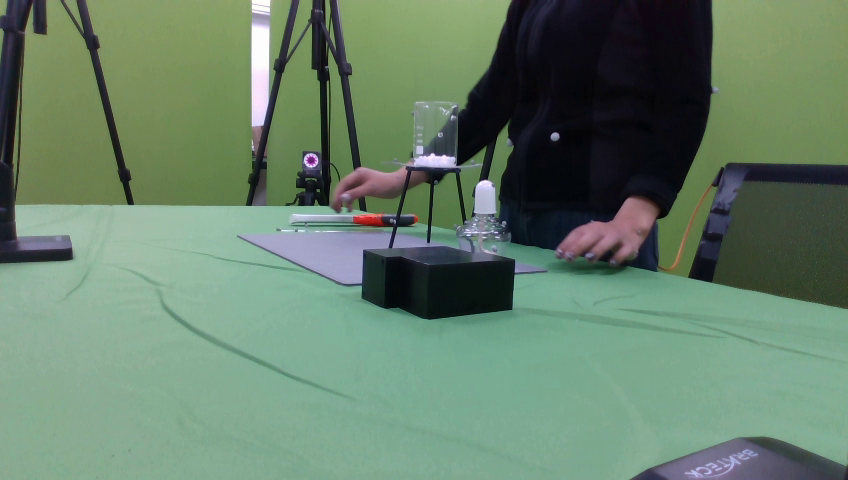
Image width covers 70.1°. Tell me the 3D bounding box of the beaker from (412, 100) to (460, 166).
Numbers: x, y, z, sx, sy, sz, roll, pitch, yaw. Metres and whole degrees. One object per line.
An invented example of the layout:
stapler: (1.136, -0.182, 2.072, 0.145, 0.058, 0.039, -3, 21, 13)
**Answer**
beaker: (0.020, -0.167, 0.953, 0.073, 0.100, 0.084, 6, 9, 26)

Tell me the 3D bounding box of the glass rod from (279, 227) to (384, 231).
glass rod: (-0.175, -0.021, 1.161, 0.200, 0.008, 0.008, 1, 7, -15)

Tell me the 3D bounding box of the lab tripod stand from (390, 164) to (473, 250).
lab tripod stand: (0.012, -0.054, 0.960, 0.148, 0.131, 0.148, 2, 9, 0)

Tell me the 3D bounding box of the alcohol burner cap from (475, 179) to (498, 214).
alcohol burner cap: (0.086, -0.061, 0.833, 0.034, 0.048, 0.034, 0, 11, 0)

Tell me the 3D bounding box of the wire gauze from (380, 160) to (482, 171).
wire gauze: (0.011, -0.119, 0.951, 0.122, 0.011, 0.124, -5, 12, -32)

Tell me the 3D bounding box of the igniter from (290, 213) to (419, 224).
igniter: (-0.143, -0.046, 1.288, 0.278, 0.025, 0.057, -1, -3, -24)

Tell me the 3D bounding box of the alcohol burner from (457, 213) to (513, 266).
alcohol burner: (0.084, -0.025, 0.837, 0.078, 0.119, 0.078, 0, 8, 0)
